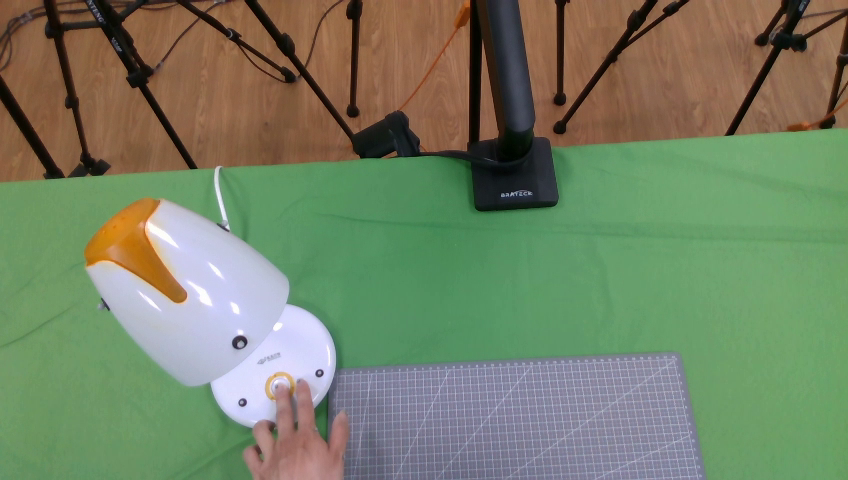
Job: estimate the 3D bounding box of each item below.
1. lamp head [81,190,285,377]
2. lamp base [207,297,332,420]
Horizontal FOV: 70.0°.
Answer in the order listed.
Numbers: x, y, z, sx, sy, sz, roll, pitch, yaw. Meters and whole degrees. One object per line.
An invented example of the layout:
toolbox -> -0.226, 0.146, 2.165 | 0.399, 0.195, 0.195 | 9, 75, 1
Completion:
lamp head -> -0.182, 0.021, 0.444 | 0.112, 0.124, 0.111 | -28, 30, 18
lamp base -> -0.209, 0.109, 0.712 | 0.160, 0.181, 0.177 | -31, 66, -11
